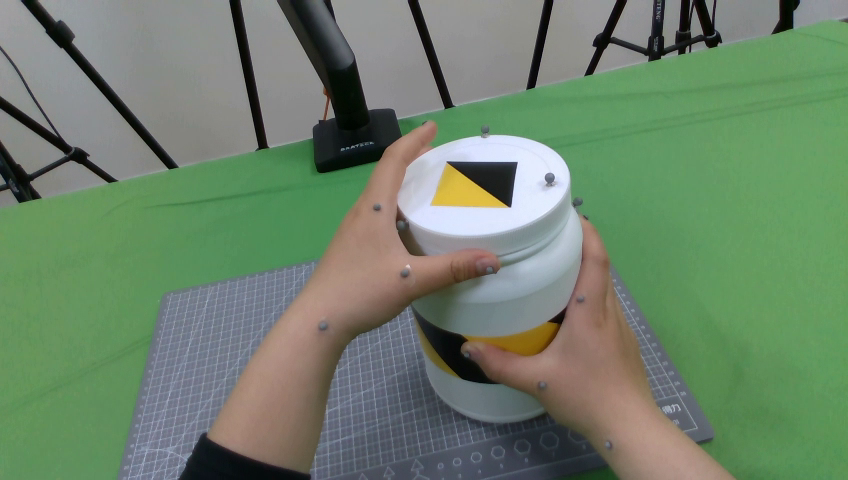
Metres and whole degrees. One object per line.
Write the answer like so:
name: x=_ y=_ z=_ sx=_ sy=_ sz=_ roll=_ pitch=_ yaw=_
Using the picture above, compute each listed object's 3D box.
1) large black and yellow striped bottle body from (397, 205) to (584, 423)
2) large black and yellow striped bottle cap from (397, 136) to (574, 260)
large black and yellow striped bottle body: x=0.052 y=0.033 z=0.451 sx=0.130 sy=0.186 sz=0.129 roll=-7 pitch=40 yaw=6
large black and yellow striped bottle cap: x=0.039 y=-0.031 z=0.396 sx=0.115 sy=0.019 sz=0.114 roll=-8 pitch=39 yaw=7
